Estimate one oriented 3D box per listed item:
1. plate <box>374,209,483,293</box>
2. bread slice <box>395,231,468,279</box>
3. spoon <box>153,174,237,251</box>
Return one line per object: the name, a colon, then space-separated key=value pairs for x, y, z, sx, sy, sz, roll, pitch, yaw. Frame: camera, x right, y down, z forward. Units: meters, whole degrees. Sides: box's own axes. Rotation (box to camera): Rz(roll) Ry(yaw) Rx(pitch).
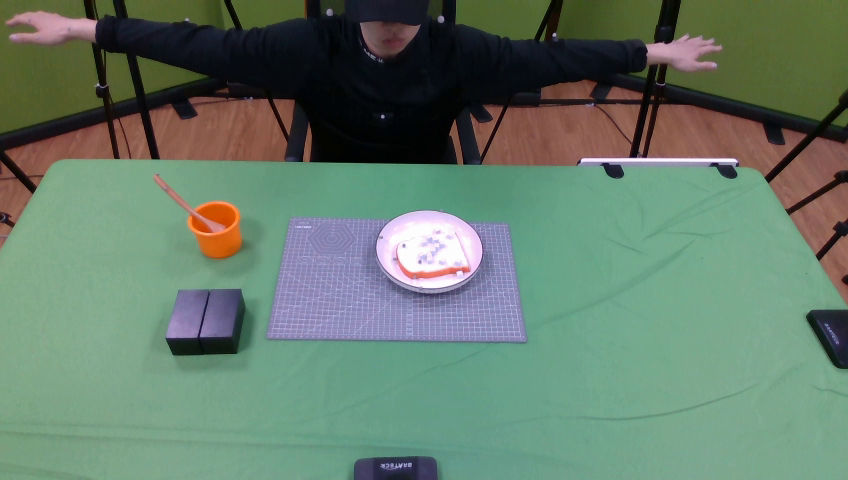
plate: x=0.009 y=0.024 z=1.160 sx=0.209 sy=0.038 sz=0.208 roll=2 pitch=46 yaw=-2
bread slice: x=0.011 y=0.030 z=1.158 sx=0.132 sy=0.019 sz=0.104 roll=-8 pitch=47 yaw=-14
spoon: x=-0.422 y=-0.050 z=1.117 sx=0.194 sy=0.021 sz=0.041 roll=43 pitch=44 yaw=-19
